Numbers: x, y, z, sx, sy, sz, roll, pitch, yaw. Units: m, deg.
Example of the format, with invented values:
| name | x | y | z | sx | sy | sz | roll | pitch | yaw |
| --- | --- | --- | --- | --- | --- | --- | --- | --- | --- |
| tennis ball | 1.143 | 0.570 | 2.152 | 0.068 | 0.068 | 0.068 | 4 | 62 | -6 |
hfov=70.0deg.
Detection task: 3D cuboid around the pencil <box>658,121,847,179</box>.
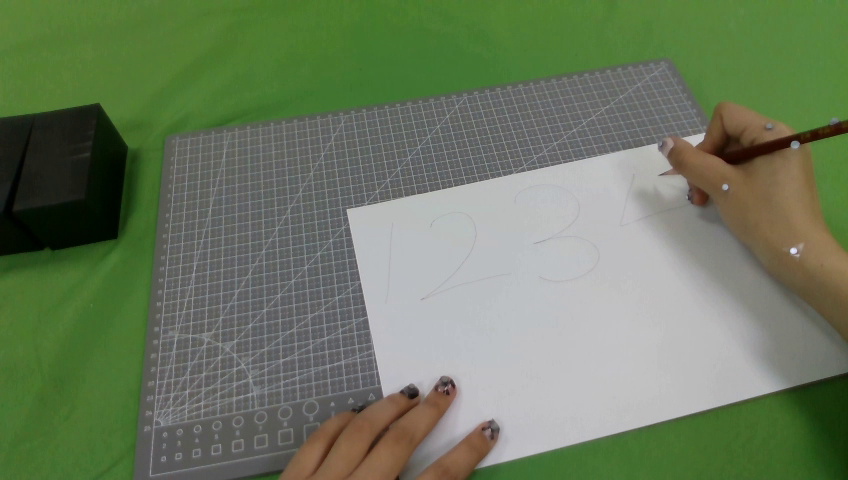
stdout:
| name | x | y | z | sx | sy | sz | roll | pitch | yaw |
| --- | --- | --- | --- | --- | --- | --- | --- | --- | --- |
| pencil | 0.220 | -0.058 | 0.376 | 0.012 | 0.193 | 0.012 | 3 | 82 | -25 |
